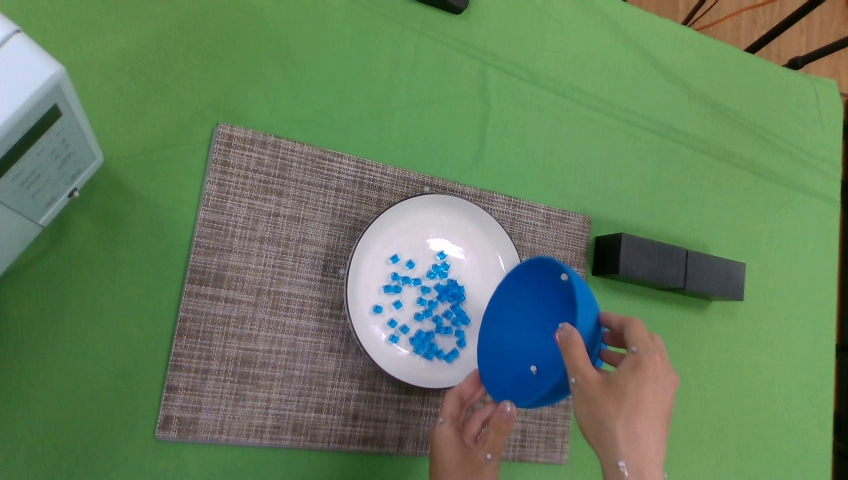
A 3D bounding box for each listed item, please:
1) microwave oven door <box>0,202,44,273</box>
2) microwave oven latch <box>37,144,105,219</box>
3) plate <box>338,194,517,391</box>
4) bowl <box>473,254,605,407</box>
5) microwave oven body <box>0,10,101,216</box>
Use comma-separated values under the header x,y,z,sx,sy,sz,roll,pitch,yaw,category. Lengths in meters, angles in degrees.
x,y,z,sx,sy,sz,roll,pitch,yaw,category
-0.389,0.105,0.355,0.039,0.243,0.355,39,72,-14,microwave oven door
-0.307,-0.056,0.513,0.030,0.029,0.079,41,72,-15,microwave oven latch
0.007,0.055,0.651,0.209,0.039,0.207,2,84,-23,plate
0.123,0.097,0.599,0.077,0.150,0.151,21,77,-25,bowl
-0.478,-0.017,0.333,0.328,0.259,0.440,39,73,-15,microwave oven body
